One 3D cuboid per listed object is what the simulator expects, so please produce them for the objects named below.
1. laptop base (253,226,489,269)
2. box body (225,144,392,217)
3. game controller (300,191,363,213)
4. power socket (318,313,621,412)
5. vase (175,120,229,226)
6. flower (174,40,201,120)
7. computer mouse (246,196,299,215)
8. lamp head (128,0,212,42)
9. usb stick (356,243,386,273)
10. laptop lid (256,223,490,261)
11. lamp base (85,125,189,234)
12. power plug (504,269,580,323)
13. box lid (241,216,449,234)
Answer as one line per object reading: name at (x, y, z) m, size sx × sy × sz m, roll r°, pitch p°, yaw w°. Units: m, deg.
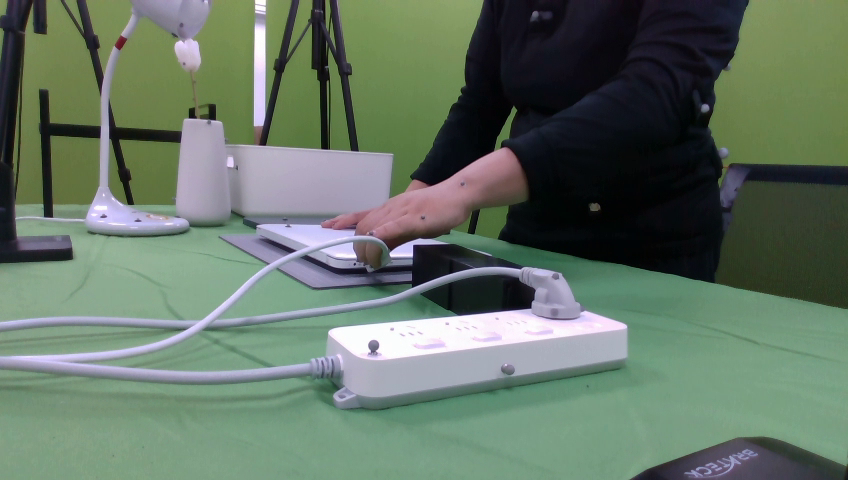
laptop base at (-0.096, 0.011, 0.911) m, size 0.237 × 0.023 × 0.352 m, roll 3°, pitch 6°, yaw -32°
box body at (-0.289, -0.143, 1.474) m, size 0.366 × 0.160 × 0.253 m, roll -1°, pitch 9°, yaw -29°
game controller at (-0.241, -0.098, 1.550) m, size 0.155 × 0.051 × 0.097 m, roll 2°, pitch 9°, yaw 5°
power socket at (0.037, 0.076, 0.409) m, size 0.228 × 0.032 × 0.072 m, roll -1°, pitch 8°, yaw -29°
vase at (-0.425, -0.128, 1.158) m, size 0.098 × 0.200 × 0.098 m, roll 2°, pitch 9°, yaw 0°
flower at (-0.430, -0.211, 1.165) m, size 0.044 × 0.361 × 0.038 m, roll -10°, pitch -5°, yaw -22°
computer mouse at (-0.355, -0.082, 1.417) m, size 0.117 × 0.041 × 0.063 m, roll 1°, pitch 10°, yaw 7°
lamp head at (-0.423, -0.394, 0.980) m, size 0.123 × 0.112 × 0.112 m, roll 20°, pitch 7°, yaw -3°
usb stick at (-0.062, 0.022, 0.692) m, size 0.021 × 0.027 × 0.059 m, roll -25°, pitch -5°, yaw -17°
laptop lid at (-0.093, 0.000, 0.911) m, size 0.243 × 0.013 × 0.355 m, roll 2°, pitch 7°, yaw -30°
lamp base at (-0.498, -0.105, 1.026) m, size 0.179 × 0.180 × 0.160 m, roll 1°, pitch 7°, yaw 3°
power plug at (0.091, 0.051, 0.469) m, size 0.035 × 0.052 × 0.072 m, roll -1°, pitch 6°, yaw -15°
box lid at (-0.162, -0.030, 1.233) m, size 0.373 × 0.015 × 0.262 m, roll -1°, pitch 8°, yaw -32°
